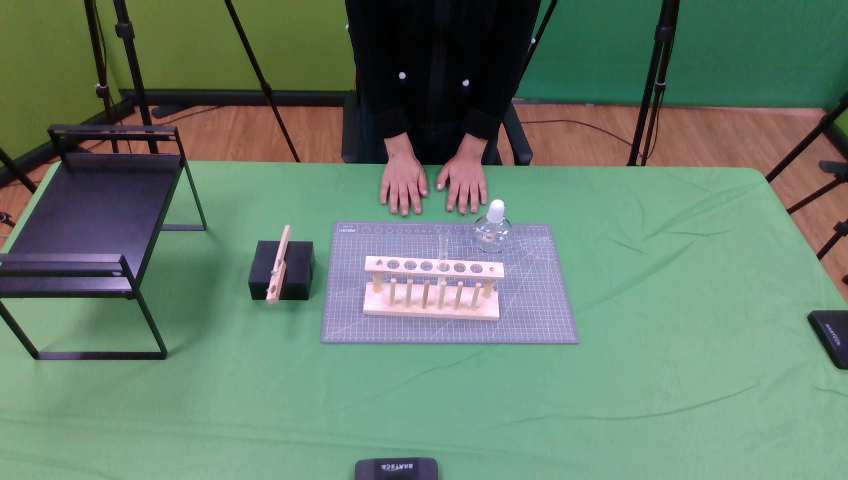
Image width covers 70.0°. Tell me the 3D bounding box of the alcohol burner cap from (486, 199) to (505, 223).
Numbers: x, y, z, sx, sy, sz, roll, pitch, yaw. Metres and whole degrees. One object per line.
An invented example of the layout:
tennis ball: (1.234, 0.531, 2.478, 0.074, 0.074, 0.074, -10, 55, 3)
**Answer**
alcohol burner cap: (0.136, -0.058, 1.148, 0.034, 0.048, 0.033, 4, 52, -4)

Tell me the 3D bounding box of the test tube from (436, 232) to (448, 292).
test tube: (0.030, 0.042, 1.042, 0.017, 0.151, 0.017, 1, 48, -1)

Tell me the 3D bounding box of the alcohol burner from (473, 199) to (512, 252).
alcohol burner: (0.135, -0.034, 1.174, 0.078, 0.120, 0.077, 1, 47, -1)

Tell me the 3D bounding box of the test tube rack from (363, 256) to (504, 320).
test tube rack: (0.015, 0.085, 1.069, 0.242, 0.085, 0.066, 3, 46, -2)

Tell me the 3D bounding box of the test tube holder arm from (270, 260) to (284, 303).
test tube holder arm: (-0.252, 0.071, 1.045, 0.010, 0.015, 0.087, -4, 46, 2)

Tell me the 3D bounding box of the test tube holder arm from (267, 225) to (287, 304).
test tube holder arm: (-0.260, 0.039, 1.077, 0.013, 0.015, 0.177, -5, 46, 1)
